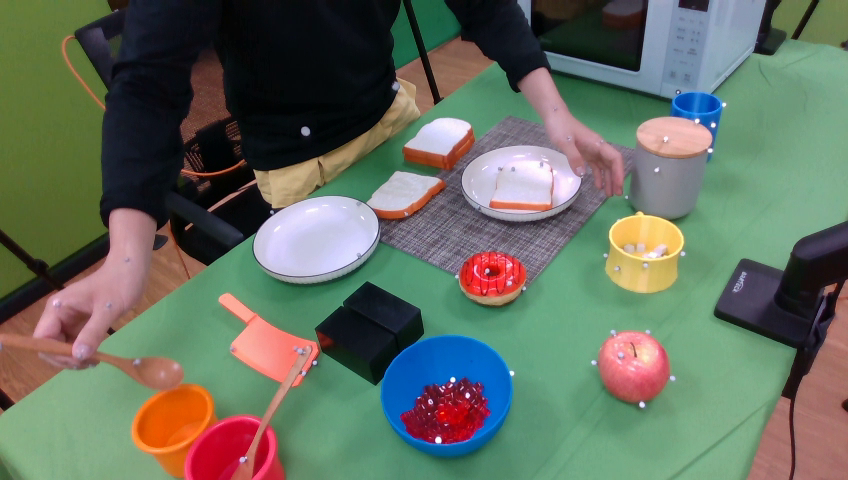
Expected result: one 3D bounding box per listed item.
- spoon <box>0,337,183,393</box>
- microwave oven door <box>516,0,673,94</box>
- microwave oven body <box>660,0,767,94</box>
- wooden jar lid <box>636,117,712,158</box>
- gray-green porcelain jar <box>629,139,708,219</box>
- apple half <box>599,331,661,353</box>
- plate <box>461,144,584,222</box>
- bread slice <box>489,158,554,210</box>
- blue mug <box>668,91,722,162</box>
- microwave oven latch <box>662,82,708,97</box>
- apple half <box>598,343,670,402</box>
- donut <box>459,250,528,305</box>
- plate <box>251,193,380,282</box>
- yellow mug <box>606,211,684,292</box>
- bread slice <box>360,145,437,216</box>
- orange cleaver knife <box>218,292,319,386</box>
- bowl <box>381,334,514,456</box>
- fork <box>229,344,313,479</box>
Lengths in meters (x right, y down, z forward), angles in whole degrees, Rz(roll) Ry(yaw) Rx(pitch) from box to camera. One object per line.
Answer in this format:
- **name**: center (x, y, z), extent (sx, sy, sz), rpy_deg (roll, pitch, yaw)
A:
- **spoon**: center (-0.329, 0.123, 0.612), extent (0.021, 0.195, 0.041), rpy_deg (-29, 55, 17)
- **microwave oven door**: center (0.344, -0.458, 1.256), extent (0.353, 0.245, 0.039), rpy_deg (26, 52, 33)
- **microwave oven body**: center (0.474, -0.517, 1.313), extent (0.438, 0.261, 0.327), rpy_deg (26, 51, 34)
- **wooden jar lid**: center (0.377, -0.151, 0.917), extent (0.108, 0.021, 0.108), rpy_deg (-2, 41, 3)
- **gray-green porcelain jar**: center (0.383, -0.105, 0.958), extent (0.106, 0.127, 0.105), rpy_deg (-4, 41, 4)
- **apple half**: center (0.249, 0.134, 0.738), extent (0.081, 0.081, 0.032), rpy_deg (-1, 46, 7)
- **plate**: center (0.167, -0.095, 1.040), extent (0.207, 0.039, 0.206), rpy_deg (-4, 40, 4)
- **bread slice**: center (0.172, -0.100, 1.047), extent (0.104, 0.019, 0.131), rpy_deg (4, 43, 12)
- **blue mug**: center (0.475, -0.207, 1.079), extent (0.082, 0.106, 0.116), rpy_deg (4, 42, 13)
- **microwave oven latch**: center (0.518, -0.298, 1.203), extent (0.078, 0.029, 0.030), rpy_deg (28, 53, 35)
- **apple half**: center (0.247, 0.161, 0.710), extent (0.081, 0.075, 0.053), rpy_deg (2, 46, 5)
- **donut**: center (0.100, 0.053, 0.872), extent (0.099, 0.048, 0.098), rpy_deg (-4, 40, 4)
- **plate**: center (-0.174, -0.001, 0.985), extent (0.209, 0.038, 0.208), rpy_deg (-3, 40, 3)
- **yellow mug**: center (0.318, 0.008, 0.883), extent (0.100, 0.064, 0.130), rpy_deg (0, 40, 9)
- **bread slice**: center (-0.053, -0.103, 1.046), extent (0.106, 0.018, 0.134), rpy_deg (19, 67, 22)
- **orange cleaver knife**: center (-0.235, 0.136, 0.850), extent (0.209, 0.012, 0.077), rpy_deg (25, 57, 30)
- **bowl**: center (0.029, 0.192, 0.701), extent (0.151, 0.077, 0.150), rpy_deg (-4, 40, 4)
- **fork**: center (-0.173, 0.205, 0.662), extent (0.028, 0.019, 0.207), rpy_deg (29, 94, 36)
